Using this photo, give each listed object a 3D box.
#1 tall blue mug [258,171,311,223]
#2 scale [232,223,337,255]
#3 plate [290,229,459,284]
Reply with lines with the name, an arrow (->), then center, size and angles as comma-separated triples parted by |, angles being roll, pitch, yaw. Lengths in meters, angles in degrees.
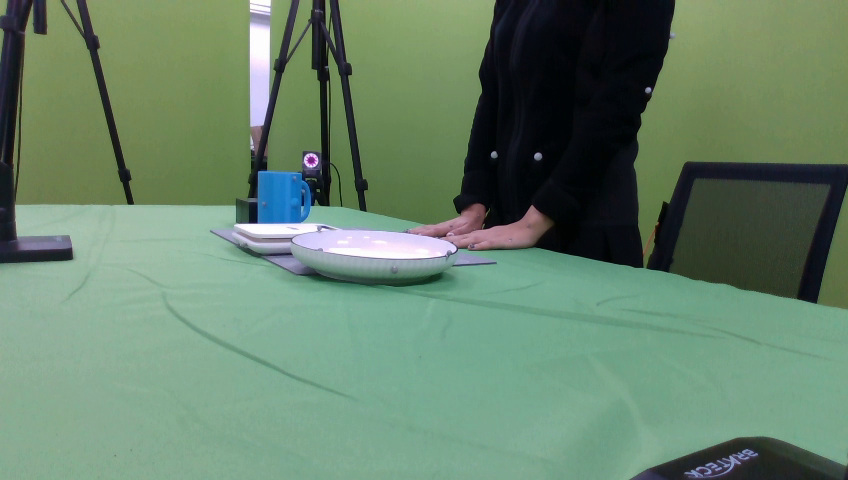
tall blue mug -> -0.258, -0.070, 1.107 | 0.078, 0.108, 0.107 | 2, 7, 5
scale -> -0.178, -0.004, 0.920 | 0.202, 0.031, 0.148 | -1, 9, -30
plate -> -0.061, 0.020, 0.753 | 0.209, 0.038, 0.209 | 3, 9, 0
